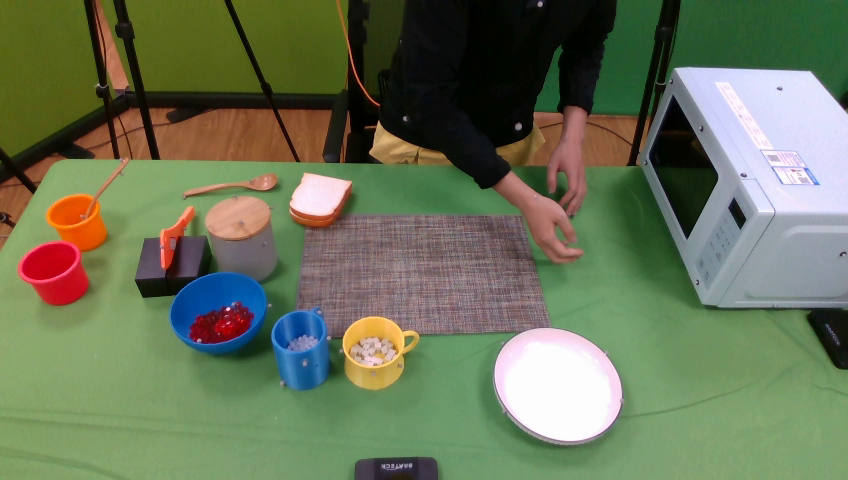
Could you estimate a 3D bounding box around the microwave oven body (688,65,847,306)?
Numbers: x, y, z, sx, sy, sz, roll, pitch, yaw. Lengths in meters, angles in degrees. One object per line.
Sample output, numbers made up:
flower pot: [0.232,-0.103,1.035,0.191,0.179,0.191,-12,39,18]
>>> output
microwave oven body: [0.669,-0.111,1.176,0.326,0.261,0.439,0,46,-3]

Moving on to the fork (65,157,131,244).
fork: [-0.609,-0.074,1.133,0.207,0.019,0.028,-52,51,10]

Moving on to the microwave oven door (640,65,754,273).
microwave oven door: [0.523,-0.147,1.193,0.039,0.245,0.353,0,47,-3]

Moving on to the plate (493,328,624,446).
plate: [0.213,0.236,0.974,0.208,0.039,0.206,2,46,-2]

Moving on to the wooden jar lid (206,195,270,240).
wooden jar lid: [-0.319,-0.036,1.046,0.108,0.021,0.107,1,44,0]

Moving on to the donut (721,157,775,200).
donut: [0.648,-0.124,1.214,0.099,0.048,0.098,-4,55,5]

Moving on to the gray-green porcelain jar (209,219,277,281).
gray-green porcelain jar: [-0.323,0.007,1.092,0.106,0.127,0.105,2,46,-2]

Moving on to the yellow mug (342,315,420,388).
yellow mug: [-0.068,0.177,0.990,0.131,0.064,0.099,-16,50,-19]

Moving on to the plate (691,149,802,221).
plate: [0.652,-0.108,1.238,0.209,0.038,0.208,-1,46,1]

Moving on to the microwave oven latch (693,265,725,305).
microwave oven latch: [0.523,0.082,1.116,0.030,0.029,0.078,2,46,-1]

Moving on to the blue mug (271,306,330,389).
blue mug: [-0.188,0.163,0.969,0.082,0.106,0.116,15,47,10]

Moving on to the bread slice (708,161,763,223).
bread slice: [0.651,-0.105,1.261,0.105,0.019,0.131,11,69,9]

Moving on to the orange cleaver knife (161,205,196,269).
orange cleaver knife: [-0.454,-0.010,1.129,0.012,0.077,0.210,-2,20,-5]

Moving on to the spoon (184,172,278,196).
spoon: [-0.405,-0.117,1.275,0.194,0.022,0.041,-8,65,-12]

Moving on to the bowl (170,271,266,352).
bowl: [-0.333,0.132,1.006,0.151,0.077,0.150,2,46,-2]

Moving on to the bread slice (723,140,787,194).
bread slice: [0.661,-0.147,1.200,0.107,0.018,0.133,0,54,10]
